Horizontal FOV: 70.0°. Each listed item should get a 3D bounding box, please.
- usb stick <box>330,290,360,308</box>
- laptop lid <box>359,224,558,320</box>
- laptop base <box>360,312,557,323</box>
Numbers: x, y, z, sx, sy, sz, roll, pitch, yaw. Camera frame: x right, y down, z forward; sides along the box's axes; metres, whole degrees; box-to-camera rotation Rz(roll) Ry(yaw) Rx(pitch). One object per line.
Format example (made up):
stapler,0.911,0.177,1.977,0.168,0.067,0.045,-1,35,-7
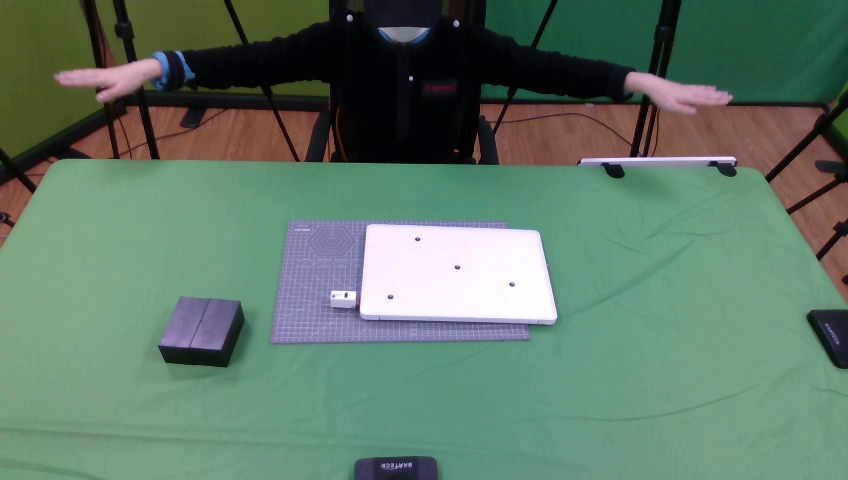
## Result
usb stick,-0.135,0.105,1.068,0.059,0.027,0.021,6,44,-6
laptop lid,0.062,0.053,1.138,0.357,0.013,0.240,3,44,-2
laptop base,0.061,0.063,1.145,0.354,0.023,0.234,2,43,-3
